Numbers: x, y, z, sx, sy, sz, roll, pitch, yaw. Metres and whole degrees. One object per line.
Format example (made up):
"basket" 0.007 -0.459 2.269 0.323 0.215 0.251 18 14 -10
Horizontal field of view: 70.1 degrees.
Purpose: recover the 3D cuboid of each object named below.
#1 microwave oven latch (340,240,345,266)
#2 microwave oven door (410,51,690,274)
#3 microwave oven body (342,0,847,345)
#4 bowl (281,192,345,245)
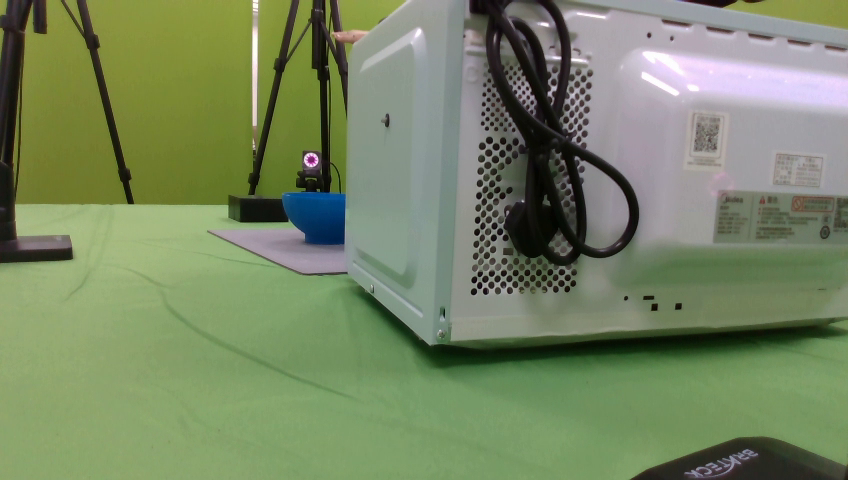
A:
"microwave oven latch" -0.052 0.016 0.662 0.079 0.029 0.030 1 7 -19
"microwave oven door" 0.161 -0.084 0.723 0.357 0.243 0.039 0 8 -20
"microwave oven body" 0.169 -0.059 0.573 0.444 0.260 0.324 1 7 -20
"bowl" -0.158 -0.035 0.991 0.151 0.077 0.151 3 7 0
